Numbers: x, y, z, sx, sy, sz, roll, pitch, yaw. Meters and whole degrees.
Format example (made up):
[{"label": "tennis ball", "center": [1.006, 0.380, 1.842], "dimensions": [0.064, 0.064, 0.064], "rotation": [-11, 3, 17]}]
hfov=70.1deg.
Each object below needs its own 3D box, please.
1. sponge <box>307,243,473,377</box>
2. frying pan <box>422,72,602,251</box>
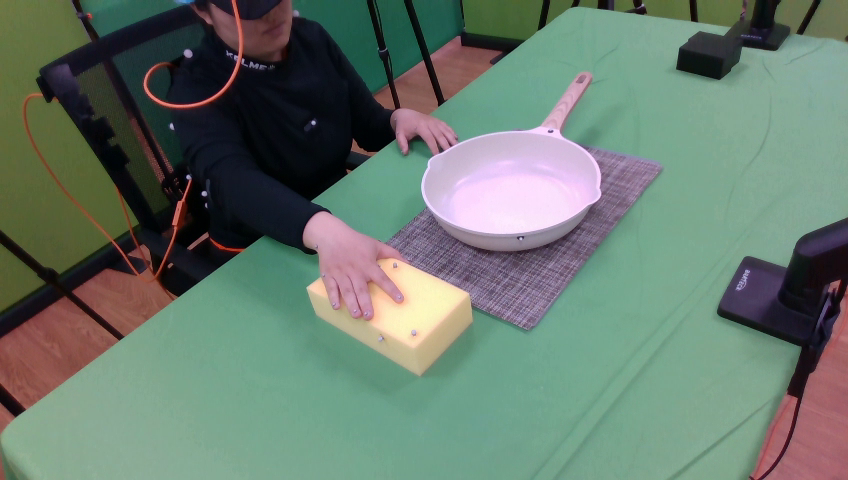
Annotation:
[{"label": "sponge", "center": [-0.050, 0.092, 0.858], "dimensions": [0.205, 0.061, 0.118], "rotation": [23, 50, 32]}, {"label": "frying pan", "center": [0.199, -0.155, 1.062], "dimensions": [0.304, 0.103, 0.488], "rotation": [19, 56, 28]}]
